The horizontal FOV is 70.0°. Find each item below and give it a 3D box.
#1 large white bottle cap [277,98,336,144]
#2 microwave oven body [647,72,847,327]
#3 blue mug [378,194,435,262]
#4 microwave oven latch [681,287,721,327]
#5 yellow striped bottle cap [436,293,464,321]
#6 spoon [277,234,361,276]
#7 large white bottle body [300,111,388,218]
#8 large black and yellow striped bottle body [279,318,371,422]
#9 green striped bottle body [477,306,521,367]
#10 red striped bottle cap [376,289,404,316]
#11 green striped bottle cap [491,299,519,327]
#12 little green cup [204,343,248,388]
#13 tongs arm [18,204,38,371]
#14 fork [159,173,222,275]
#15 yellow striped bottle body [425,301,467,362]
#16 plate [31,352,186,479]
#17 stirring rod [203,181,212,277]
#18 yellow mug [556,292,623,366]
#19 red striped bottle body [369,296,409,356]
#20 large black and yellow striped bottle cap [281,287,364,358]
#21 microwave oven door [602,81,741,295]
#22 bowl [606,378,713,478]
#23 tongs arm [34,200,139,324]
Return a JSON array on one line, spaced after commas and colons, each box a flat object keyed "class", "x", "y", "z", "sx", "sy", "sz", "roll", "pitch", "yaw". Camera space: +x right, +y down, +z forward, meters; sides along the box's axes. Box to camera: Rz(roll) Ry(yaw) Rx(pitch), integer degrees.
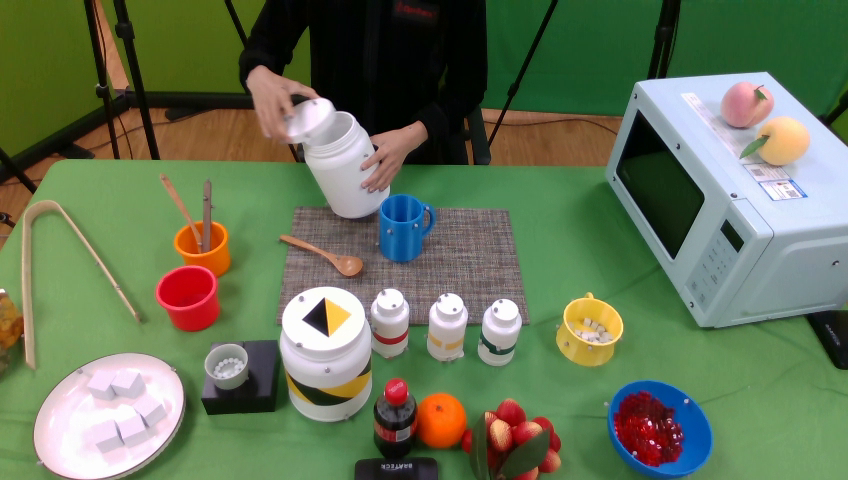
[{"class": "large white bottle cap", "x": -0.217, "y": -0.220, "z": 1.116, "sx": 0.115, "sy": 0.018, "sz": 0.114, "roll": -14, "pitch": 43, "yaw": 14}, {"class": "microwave oven body", "x": 0.607, "y": -0.089, "z": 1.164, "sx": 0.326, "sy": 0.261, "sz": 0.438, "roll": -7, "pitch": 46, "yaw": -10}, {"class": "blue mug", "x": -0.032, "y": -0.027, "z": 1.160, "sx": 0.116, "sy": 0.106, "sz": 0.082, "roll": -19, "pitch": 51, "yaw": -21}, {"class": "microwave oven latch", "x": 0.494, "y": 0.119, "z": 1.087, "sx": 0.030, "sy": 0.029, "sz": 0.078, "roll": -5, "pitch": 46, "yaw": -9}, {"class": "yellow striped bottle cap", "x": 0.041, "y": 0.106, "z": 0.959, "sx": 0.044, "sy": 0.019, "sz": 0.044, "roll": -1, "pitch": 49, "yaw": 1}, {"class": "spoon", "x": -0.202, "y": 0.023, "z": 1.154, "sx": 0.193, "sy": 0.022, "sz": 0.041, "roll": 23, "pitch": 70, "yaw": 17}, {"class": "large white bottle body", "x": -0.158, "y": -0.147, "z": 1.191, "sx": 0.130, "sy": 0.186, "sz": 0.130, "roll": -11, "pitch": 46, "yaw": 12}, {"class": "large black and yellow striped bottle body", "x": -0.145, "y": 0.173, "z": 0.907, "sx": 0.131, "sy": 0.185, "sz": 0.130, "roll": 2, "pitch": 46, "yaw": -2}, {"class": "green striped bottle body", "x": 0.124, "y": 0.151, "z": 0.995, "sx": 0.063, "sy": 0.120, "sz": 0.063, "roll": 2, "pitch": 46, "yaw": -2}, {"class": "red striped bottle cap", "x": -0.054, "y": 0.098, "z": 0.958, "sx": 0.044, "sy": 0.018, "sz": 0.044, "roll": 0, "pitch": 48, "yaw": 1}, {"class": "green striped bottle cap", "x": 0.128, "y": 0.115, "z": 0.958, "sx": 0.044, "sy": 0.020, "sz": 0.044, "roll": 1, "pitch": 47, "yaw": -1}, {"class": "little green cup", "x": -0.294, "y": 0.190, "z": 0.909, "sx": 0.061, "sy": 0.039, "sz": 0.061, "roll": 1, "pitch": 48, "yaw": 0}, {"class": "tongs arm", "x": -0.698, "y": 0.070, "z": 1.069, "sx": 0.028, "sy": 0.028, "sz": 0.385, "roll": -21, "pitch": 51, "yaw": -13}, {"class": "fork", "x": -0.427, "y": -0.029, "z": 1.103, "sx": 0.028, "sy": 0.018, "sz": 0.207, "roll": -31, "pitch": 99, "yaw": -31}, {"class": "yellow striped bottle body", "x": 0.037, "y": 0.142, "z": 0.996, "sx": 0.063, "sy": 0.121, "sz": 0.062, "roll": 3, "pitch": 46, "yaw": -2}, {"class": "plate", "x": -0.459, "y": 0.262, "z": 0.898, "sx": 0.209, "sy": 0.038, "sz": 0.208, "roll": 2, "pitch": 46, "yaw": -2}, {"class": "stirring rod", "x": -0.396, "y": -0.021, "z": 1.107, "sx": 0.014, "sy": 0.006, "sz": 0.176, "roll": -1, "pitch": 89, "yaw": -1}, {"class": "yellow mug", "x": 0.285, "y": 0.145, "z": 1.051, "sx": 0.100, "sy": 0.064, "sz": 0.130, "roll": 7, "pitch": 45, "yaw": 3}, {"class": "red striped bottle body", "x": -0.058, "y": 0.134, "z": 0.997, "sx": 0.063, "sy": 0.120, "sz": 0.062, "roll": 4, "pitch": 47, "yaw": -4}, {"class": "large black and yellow striped bottle cap", "x": -0.141, "y": 0.112, "z": 0.847, "sx": 0.115, "sy": 0.019, "sz": 0.114, "roll": 5, "pitch": 45, "yaw": -4}, {"class": "microwave oven door", "x": 0.456, "y": -0.107, "z": 1.162, "sx": 0.039, "sy": 0.245, "sz": 0.353, "roll": -7, "pitch": 47, "yaw": -11}, {"class": "bowl", "x": 0.340, "y": 0.292, "z": 0.906, "sx": 0.151, "sy": 0.077, "sz": 0.150, "roll": 2, "pitch": 46, "yaw": -2}, {"class": "tongs arm", "x": -0.622, "y": 0.034, "z": 1.105, "sx": 0.051, "sy": 0.026, "sz": 0.382, "roll": -32, "pitch": 56, "yaw": -25}]
